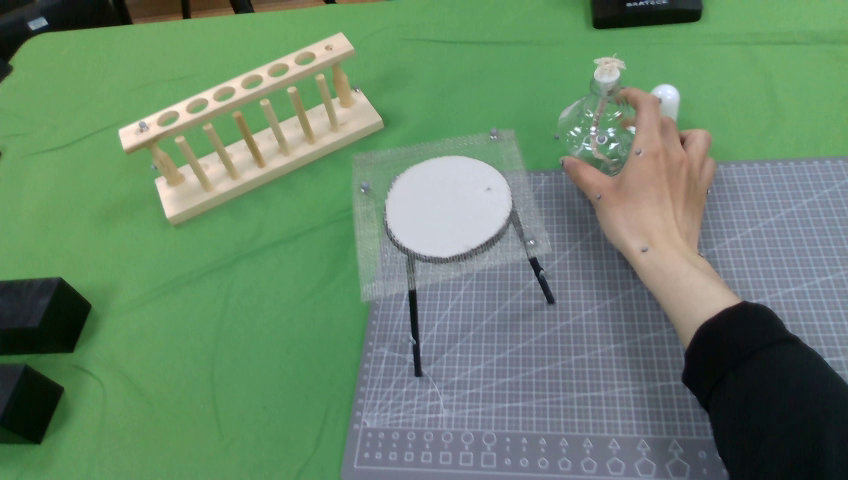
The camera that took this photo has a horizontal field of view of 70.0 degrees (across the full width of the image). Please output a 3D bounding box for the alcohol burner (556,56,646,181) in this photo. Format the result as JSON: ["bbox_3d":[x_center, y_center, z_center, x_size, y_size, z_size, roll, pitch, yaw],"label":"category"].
[{"bbox_3d":[0.156,-0.109,0.531,0.078,0.120,0.077,-5,53,7],"label":"alcohol burner"}]

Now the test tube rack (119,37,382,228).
[{"bbox_3d":[-0.172,-0.112,0.628,0.242,0.086,0.066,-27,54,-10],"label":"test tube rack"}]

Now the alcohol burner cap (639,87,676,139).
[{"bbox_3d":[0.229,-0.126,0.588,0.034,0.048,0.033,-5,54,8],"label":"alcohol burner cap"}]

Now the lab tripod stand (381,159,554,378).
[{"bbox_3d":[0.024,0.019,0.457,0.148,0.133,0.147,-5,55,7],"label":"lab tripod stand"}]

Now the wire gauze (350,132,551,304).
[{"bbox_3d":[0.012,-0.022,0.405,0.121,0.011,0.124,-11,53,3],"label":"wire gauze"}]
